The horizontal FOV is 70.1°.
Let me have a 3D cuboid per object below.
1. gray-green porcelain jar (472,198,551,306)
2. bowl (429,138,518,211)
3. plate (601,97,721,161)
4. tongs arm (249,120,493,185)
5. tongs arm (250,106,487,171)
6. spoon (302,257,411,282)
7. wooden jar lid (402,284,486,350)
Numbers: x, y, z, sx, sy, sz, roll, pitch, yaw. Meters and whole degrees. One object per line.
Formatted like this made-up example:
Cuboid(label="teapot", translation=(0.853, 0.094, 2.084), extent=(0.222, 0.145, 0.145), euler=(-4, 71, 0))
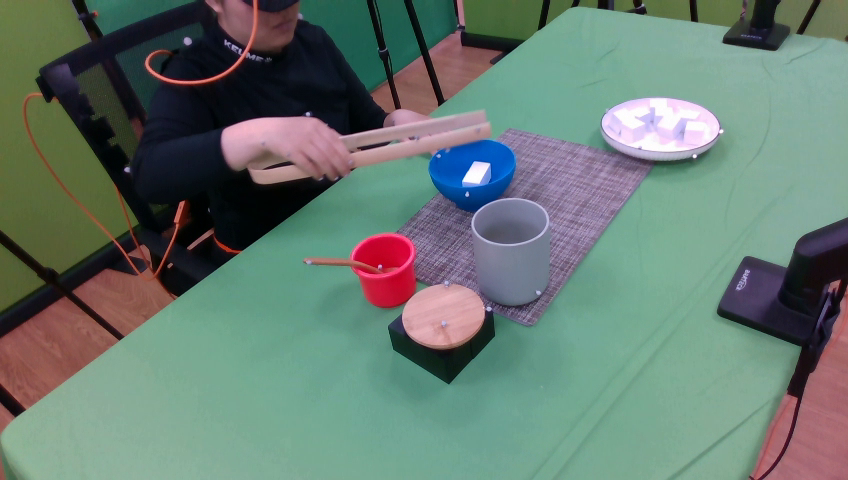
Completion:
Cuboid(label="gray-green porcelain jar", translation=(0.125, 0.021, 0.850), extent=(0.106, 0.127, 0.105), euler=(-6, 40, 5))
Cuboid(label="bowl", translation=(0.087, -0.104, 1.043), extent=(0.151, 0.077, 0.150), euler=(-5, 40, 5))
Cuboid(label="plate", translation=(0.436, -0.203, 1.126), extent=(0.209, 0.038, 0.208), euler=(-5, 39, 4))
Cuboid(label="tongs arm", translation=(-0.084, -0.142, 0.951), extent=(0.385, 0.026, 0.050), euler=(-14, 41, -2))
Cuboid(label="tongs arm", translation=(-0.087, -0.162, 0.976), extent=(0.388, 0.028, 0.028), euler=(-13, 44, 0))
Cuboid(label="spoon", translation=(-0.092, 0.038, 0.865), extent=(0.195, 0.021, 0.041), euler=(16, 15, -46))
Cuboid(label="wooden jar lid", translation=(0.026, 0.101, 0.786), extent=(0.108, 0.021, 0.108), euler=(-5, 39, 4))
